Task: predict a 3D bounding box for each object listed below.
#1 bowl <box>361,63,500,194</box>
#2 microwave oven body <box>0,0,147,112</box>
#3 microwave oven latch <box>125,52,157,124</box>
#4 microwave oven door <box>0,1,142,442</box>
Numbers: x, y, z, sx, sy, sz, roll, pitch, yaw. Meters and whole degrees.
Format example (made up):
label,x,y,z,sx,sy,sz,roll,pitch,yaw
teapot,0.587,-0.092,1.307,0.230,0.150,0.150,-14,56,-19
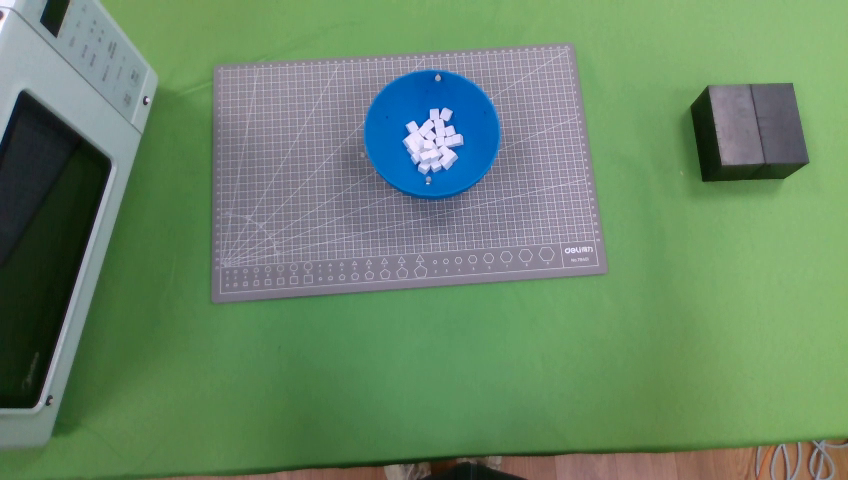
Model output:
label,x,y,z,sx,sy,sz,roll,pitch,yaw
bowl,0.007,-0.114,0.689,0.151,0.077,0.150,0,76,0
microwave oven body,-0.513,-0.058,0.575,0.326,0.261,0.439,9,77,1
microwave oven latch,-0.337,-0.178,0.706,0.030,0.029,0.079,11,77,2
microwave oven door,-0.376,0.005,0.555,0.039,0.245,0.354,9,76,3
